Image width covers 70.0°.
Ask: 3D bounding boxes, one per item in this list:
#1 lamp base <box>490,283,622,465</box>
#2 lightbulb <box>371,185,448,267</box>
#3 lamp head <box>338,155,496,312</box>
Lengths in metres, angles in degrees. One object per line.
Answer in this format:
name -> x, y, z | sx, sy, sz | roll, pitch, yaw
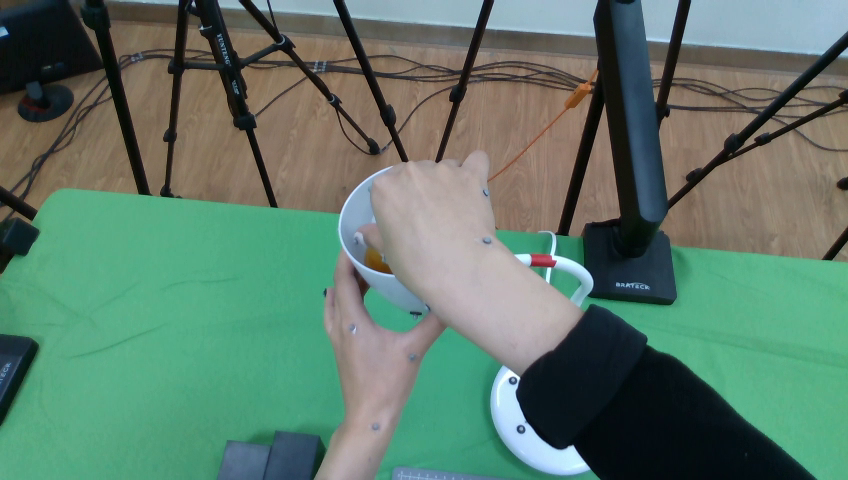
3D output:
lamp base -> 0.160, 0.141, 0.685 | 0.161, 0.182, 0.177 | -6, 55, -4
lightbulb -> -0.007, -0.002, 0.488 | 0.059, 0.108, 0.059 | -5, 61, 9
lamp head -> 0.001, 0.006, 0.511 | 0.112, 0.124, 0.111 | -8, 56, 12
